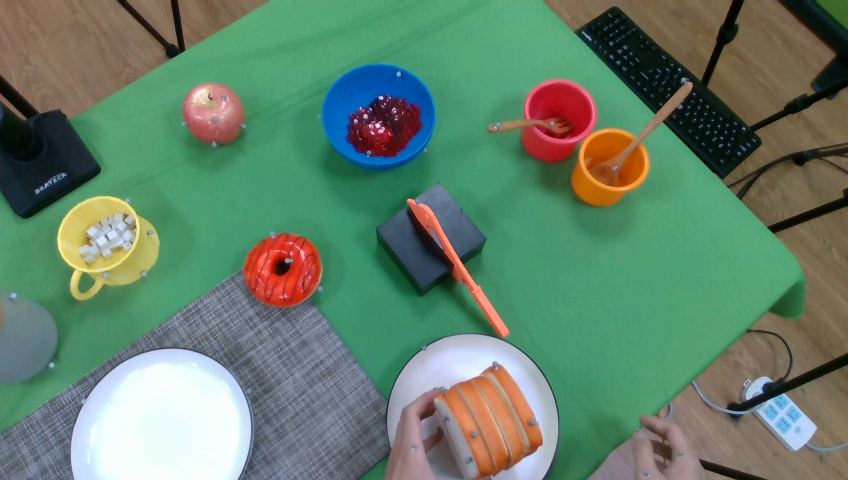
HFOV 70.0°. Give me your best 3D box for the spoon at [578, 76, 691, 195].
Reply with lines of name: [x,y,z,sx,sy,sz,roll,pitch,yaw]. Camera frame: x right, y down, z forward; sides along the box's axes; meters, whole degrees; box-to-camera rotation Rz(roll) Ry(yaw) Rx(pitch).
spoon: [0.274,-0.134,0.793,0.041,0.194,0.022,48,33,15]

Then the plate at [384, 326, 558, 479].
plate: [0.056,0.209,0.734,0.209,0.038,0.208,1,72,-2]

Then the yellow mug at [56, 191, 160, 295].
yellow mug: [-0.404,0.009,0.765,0.100,0.064,0.130,20,73,4]

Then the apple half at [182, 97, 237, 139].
apple half: [-0.292,-0.154,0.815,0.081,0.082,0.032,18,67,4]

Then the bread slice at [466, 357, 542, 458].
bread slice: [0.089,0.189,0.680,0.018,0.135,0.106,-23,73,-19]

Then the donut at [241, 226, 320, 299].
donut: [-0.183,0.029,0.774,0.099,0.048,0.098,1,73,-3]

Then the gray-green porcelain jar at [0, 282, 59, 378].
gray-green porcelain jar: [-0.501,0.103,0.700,0.106,0.127,0.105,1,72,-2]

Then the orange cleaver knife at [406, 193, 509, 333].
orange cleaver knife: [0.041,0.028,0.766,0.012,0.077,0.212,-36,101,-13]

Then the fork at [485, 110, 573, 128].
fork: [0.142,-0.159,0.796,0.208,0.018,0.028,-14,68,-50]

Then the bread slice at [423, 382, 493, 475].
bread slice: [0.036,0.208,0.671,0.019,0.132,0.104,-24,73,-18]

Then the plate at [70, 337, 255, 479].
plate: [-0.301,0.221,0.713,0.208,0.039,0.206,1,73,-2]

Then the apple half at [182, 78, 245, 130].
apple half: [-0.280,-0.188,0.827,0.080,0.075,0.053,17,67,8]

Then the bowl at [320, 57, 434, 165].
bowl: [-0.062,-0.162,0.825,0.151,0.077,0.150,1,73,-2]

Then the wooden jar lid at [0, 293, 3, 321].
wooden jar lid: [-0.499,0.083,0.640,0.108,0.021,0.107,0,71,0]
